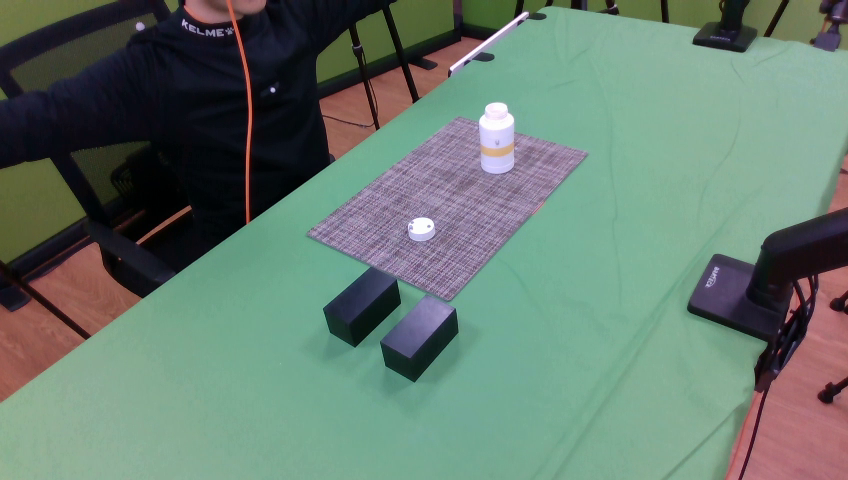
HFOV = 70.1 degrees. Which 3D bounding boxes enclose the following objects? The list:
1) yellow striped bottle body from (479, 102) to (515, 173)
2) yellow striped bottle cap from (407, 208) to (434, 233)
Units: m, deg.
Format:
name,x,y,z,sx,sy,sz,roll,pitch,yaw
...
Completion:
name,x,y,z,sx,sy,sz,roll,pitch,yaw
yellow striped bottle body,0.131,-0.186,1.083,0.063,0.121,0.062,-4,41,4
yellow striped bottle cap,-0.006,-0.032,0.971,0.044,0.019,0.044,2,44,-2
